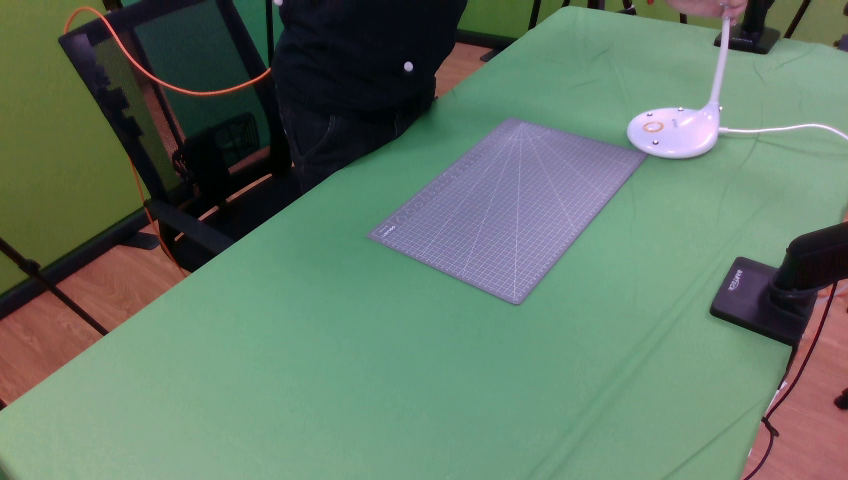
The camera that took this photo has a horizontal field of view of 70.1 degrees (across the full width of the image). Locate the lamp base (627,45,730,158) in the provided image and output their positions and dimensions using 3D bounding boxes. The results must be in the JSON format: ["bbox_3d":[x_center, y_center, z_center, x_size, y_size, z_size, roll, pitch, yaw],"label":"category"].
[{"bbox_3d":[0.469,-0.262,1.085,0.179,0.181,0.159,-4,41,-1],"label":"lamp base"}]
